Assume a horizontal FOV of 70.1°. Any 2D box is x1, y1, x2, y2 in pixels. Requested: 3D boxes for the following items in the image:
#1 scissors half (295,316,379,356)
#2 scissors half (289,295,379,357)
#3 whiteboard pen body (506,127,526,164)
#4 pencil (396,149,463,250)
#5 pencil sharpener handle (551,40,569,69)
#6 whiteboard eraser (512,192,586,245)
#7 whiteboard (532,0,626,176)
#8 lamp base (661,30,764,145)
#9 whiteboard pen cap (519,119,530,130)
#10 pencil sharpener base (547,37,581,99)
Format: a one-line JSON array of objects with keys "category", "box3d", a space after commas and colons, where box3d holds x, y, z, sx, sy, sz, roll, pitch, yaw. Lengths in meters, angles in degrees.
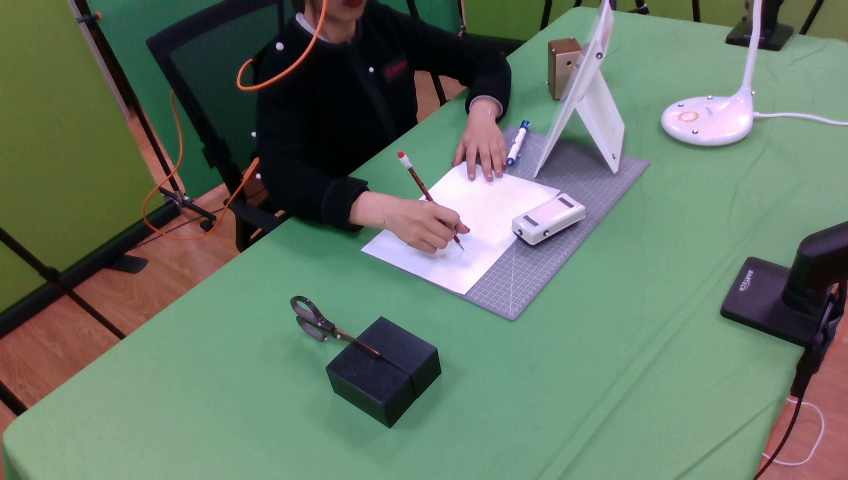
[{"category": "scissors half", "box3d": [-0.119, 0.132, 0.813, 0.174, 0.040, 0.013, 9, 34, 45]}, {"category": "scissors half", "box3d": [-0.122, 0.114, 0.803, 0.174, 0.040, 0.013, 26, 50, 32]}, {"category": "whiteboard pen body", "box3d": [0.181, -0.189, 1.162, 0.017, 0.017, 0.140, 8, 42, 19]}, {"category": "pencil", "box3d": [0.012, -0.058, 0.922, 0.012, 0.195, 0.012, -27, 25, 14]}, {"category": "pencil sharpener handle", "box3d": [0.291, -0.409, 1.321, 0.036, 0.068, 0.030, 2, 40, -6]}, {"category": "whiteboard eraser", "box3d": [0.199, -0.032, 0.962, 0.113, 0.042, 0.055, -27, 43, -20]}, {"category": "whiteboard", "box3d": [0.320, -0.258, 1.050, 0.144, 0.306, 0.217, 21, 45, 5]}, {"category": "lamp base", "box3d": [0.535, -0.287, 1.096, 0.179, 0.181, 0.159, -10, 40, -4]}, {"category": "whiteboard pen cap", "box3d": [0.199, -0.226, 1.204, 0.018, 0.018, 0.033, 7, 41, 18]}, {"category": "pencil sharpener base", "box3d": [0.299, -0.368, 1.290, 0.061, 0.107, 0.076, -8, 40, 3]}]
